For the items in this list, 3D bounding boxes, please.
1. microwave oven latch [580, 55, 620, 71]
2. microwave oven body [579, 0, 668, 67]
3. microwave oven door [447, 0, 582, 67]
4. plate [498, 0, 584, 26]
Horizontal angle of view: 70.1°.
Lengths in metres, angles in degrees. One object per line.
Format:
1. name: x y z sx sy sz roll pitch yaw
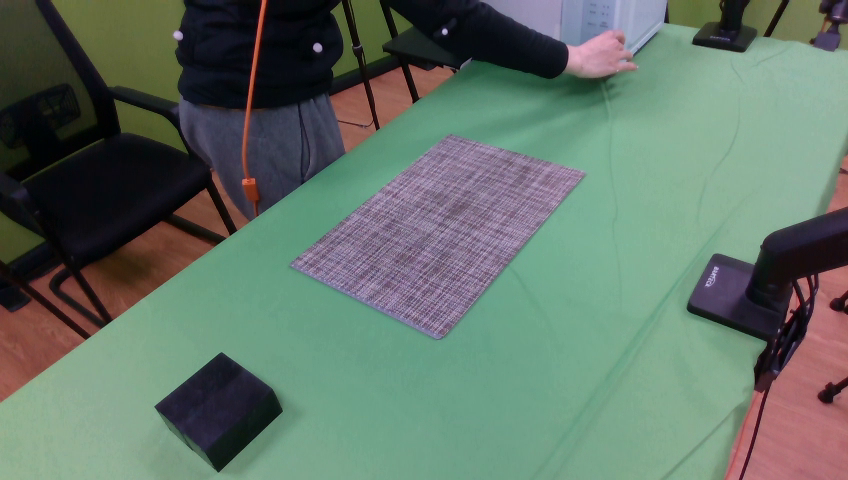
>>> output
1. microwave oven latch: 0.386 -0.394 1.330 0.078 0.029 0.030 25 51 32
2. microwave oven body: 0.325 -0.609 1.437 0.438 0.261 0.327 23 49 30
3. microwave oven door: 0.203 -0.544 1.373 0.353 0.245 0.039 23 49 29
4. plate: 0.286 -0.573 1.489 0.209 0.038 0.208 -5 41 5
